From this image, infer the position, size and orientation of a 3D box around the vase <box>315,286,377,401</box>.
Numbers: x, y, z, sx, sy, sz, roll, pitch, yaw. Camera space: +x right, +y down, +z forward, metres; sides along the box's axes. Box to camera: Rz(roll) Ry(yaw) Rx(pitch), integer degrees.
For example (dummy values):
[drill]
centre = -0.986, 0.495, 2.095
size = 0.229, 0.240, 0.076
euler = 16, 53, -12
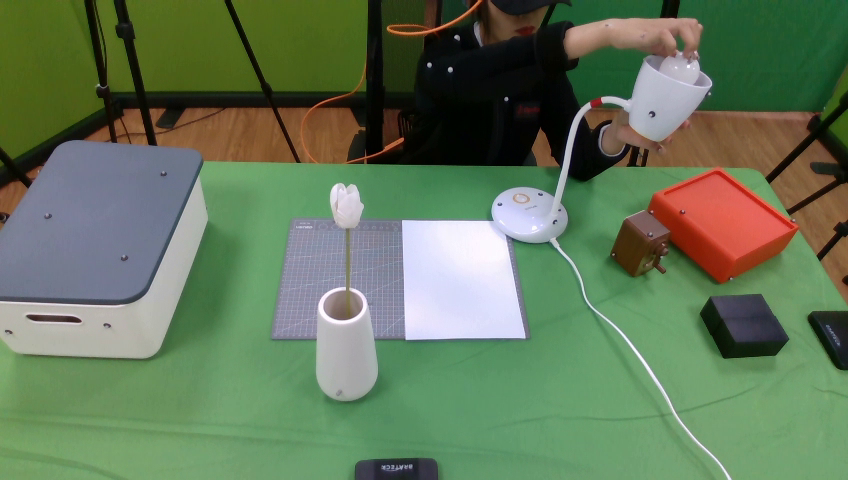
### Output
[vase]
centre = -0.119, 0.159, 0.911
size = 0.098, 0.201, 0.097
euler = 2, 47, -2

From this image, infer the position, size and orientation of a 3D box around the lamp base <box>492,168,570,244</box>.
[lamp base]
centre = 0.234, -0.101, 1.199
size = 0.161, 0.181, 0.178
euler = -24, 56, -25

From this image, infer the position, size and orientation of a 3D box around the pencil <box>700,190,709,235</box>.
[pencil]
centre = 0.583, -0.058, 1.257
size = 0.012, 0.012, 0.193
euler = 16, 35, 12

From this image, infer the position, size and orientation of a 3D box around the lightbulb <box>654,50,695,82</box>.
[lightbulb]
centre = 0.386, -0.245, 0.959
size = 0.059, 0.108, 0.059
euler = 13, 27, -6

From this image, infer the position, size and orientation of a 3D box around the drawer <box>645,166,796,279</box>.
[drawer]
centre = 0.600, -0.041, 1.236
size = 0.195, 0.073, 0.210
euler = -21, 51, -23

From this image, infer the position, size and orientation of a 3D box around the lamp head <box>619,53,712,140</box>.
[lamp head]
centre = 0.378, -0.226, 0.978
size = 0.112, 0.123, 0.111
euler = 14, 40, -12

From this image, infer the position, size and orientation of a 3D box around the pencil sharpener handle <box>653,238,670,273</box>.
[pencil sharpener handle]
centre = 0.444, 0.030, 1.120
size = 0.036, 0.068, 0.030
euler = -25, 52, -18

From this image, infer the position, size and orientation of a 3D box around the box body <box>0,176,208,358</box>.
[box body]
centre = -0.546, 0.017, 1.045
size = 0.254, 0.161, 0.361
euler = 2, 46, -2

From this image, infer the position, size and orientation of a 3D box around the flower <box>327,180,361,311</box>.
[flower]
centre = -0.111, 0.087, 0.867
size = 0.044, 0.363, 0.038
euler = 22, 33, 35

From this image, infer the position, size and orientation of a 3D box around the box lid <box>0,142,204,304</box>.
[box lid]
centre = -0.534, -0.044, 0.995
size = 0.263, 0.015, 0.369
euler = 3, 45, -3

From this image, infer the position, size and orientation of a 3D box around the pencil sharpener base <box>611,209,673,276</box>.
[pencil sharpener base]
centre = 0.416, 0.007, 1.158
size = 0.061, 0.107, 0.076
euler = -21, 51, -22

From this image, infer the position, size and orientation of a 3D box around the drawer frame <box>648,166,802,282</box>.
[drawer frame]
centre = 0.603, -0.040, 1.234
size = 0.202, 0.083, 0.212
euler = -21, 51, -23
